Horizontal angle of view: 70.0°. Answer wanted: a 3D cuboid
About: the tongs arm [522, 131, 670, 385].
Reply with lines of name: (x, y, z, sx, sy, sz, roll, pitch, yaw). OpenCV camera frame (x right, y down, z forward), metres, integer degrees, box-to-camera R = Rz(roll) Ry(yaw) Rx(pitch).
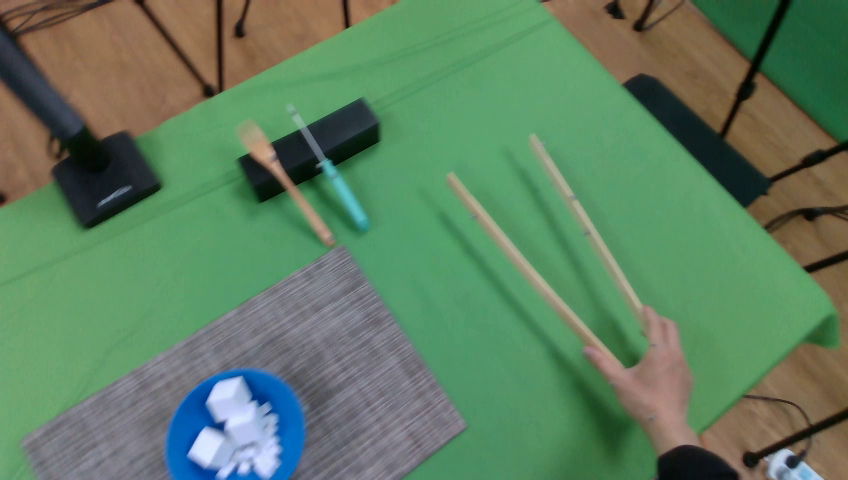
tongs arm: (0.214, 0.011, 0.810, 0.051, 0.027, 0.381, -23, 69, -17)

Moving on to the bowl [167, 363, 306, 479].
bowl: (-0.208, 0.225, 0.704, 0.151, 0.077, 0.150, 1, 67, -3)

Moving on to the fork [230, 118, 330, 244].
fork: (-0.195, -0.078, 0.833, 0.028, 0.018, 0.207, -40, 95, -22)

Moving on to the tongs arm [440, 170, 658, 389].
tongs arm: (0.148, 0.045, 0.788, 0.028, 0.028, 0.385, -34, 72, -24)

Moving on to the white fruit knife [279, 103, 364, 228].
white fruit knife: (-0.145, -0.106, 0.847, 0.016, 0.027, 0.207, -34, 90, -10)
